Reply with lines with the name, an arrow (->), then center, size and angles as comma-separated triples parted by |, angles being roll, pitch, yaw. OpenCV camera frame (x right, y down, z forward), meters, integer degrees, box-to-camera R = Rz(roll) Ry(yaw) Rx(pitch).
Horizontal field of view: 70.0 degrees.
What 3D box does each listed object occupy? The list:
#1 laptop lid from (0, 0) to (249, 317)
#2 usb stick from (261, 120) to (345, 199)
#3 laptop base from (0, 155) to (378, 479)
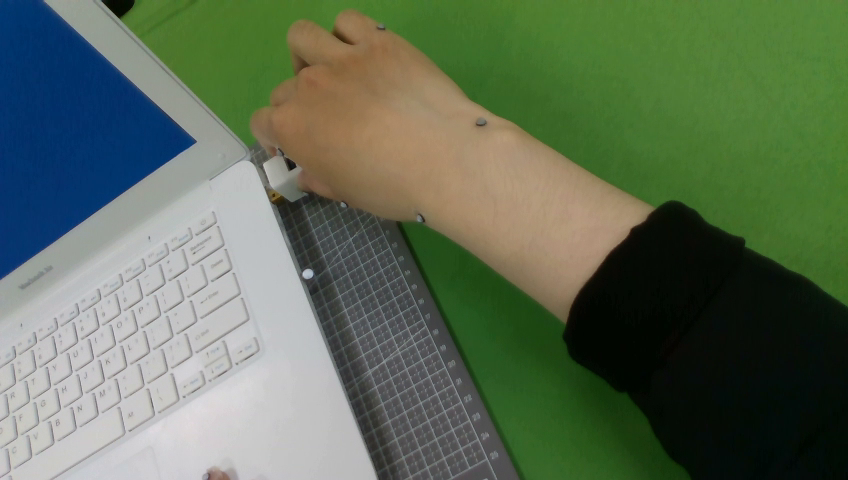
laptop lid -> -0.315, -0.033, 0.351 | 0.356, 0.244, 0.013 | -33, 45, 10
usb stick -> -0.080, -0.046, 0.376 | 0.059, 0.027, 0.021 | -34, 61, 12
laptop base -> -0.212, 0.125, 0.382 | 0.354, 0.023, 0.233 | -32, 66, 9
